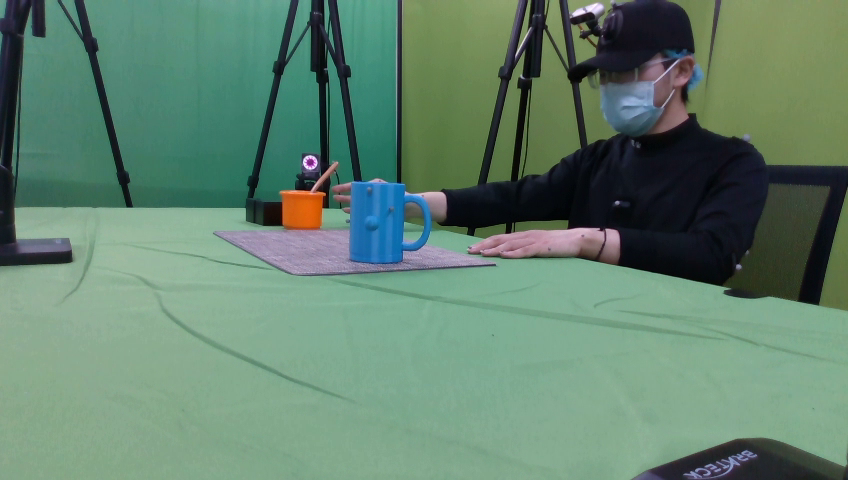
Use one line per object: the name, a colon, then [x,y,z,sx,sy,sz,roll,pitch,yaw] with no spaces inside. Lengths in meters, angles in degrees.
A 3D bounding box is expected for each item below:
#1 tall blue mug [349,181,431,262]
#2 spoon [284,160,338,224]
tall blue mug: [-0.051,-0.028,0.849,0.108,0.108,0.077,-1,7,-22]
spoon: [-0.229,-0.101,1.251,0.041,0.194,0.022,6,-37,35]
